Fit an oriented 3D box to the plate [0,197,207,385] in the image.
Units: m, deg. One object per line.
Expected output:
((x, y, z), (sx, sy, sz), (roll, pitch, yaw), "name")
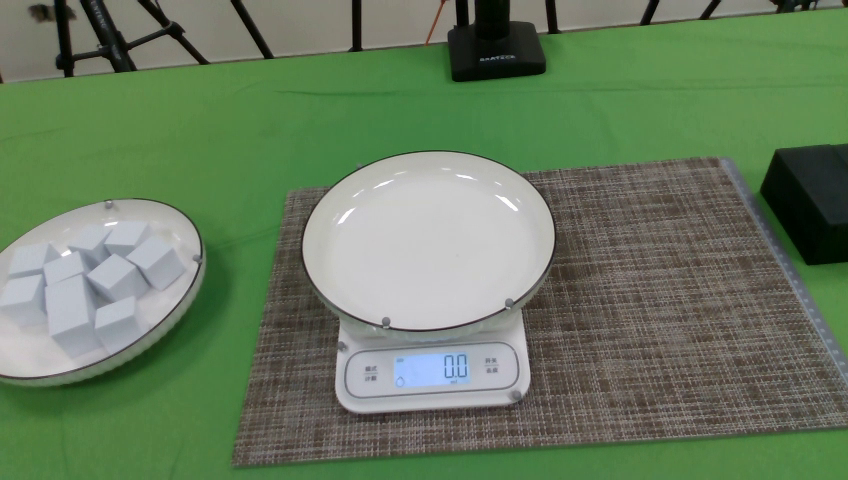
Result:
((-0.296, 0.043, 0.544), (0.209, 0.038, 0.207), (-3, 46, 3), "plate")

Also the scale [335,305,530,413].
((0.005, 0.046, 0.508), (0.148, 0.032, 0.199), (-4, 46, 3), "scale")

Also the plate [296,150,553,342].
((0.001, 0.003, 0.505), (0.207, 0.039, 0.205), (-2, 46, 3), "plate")
